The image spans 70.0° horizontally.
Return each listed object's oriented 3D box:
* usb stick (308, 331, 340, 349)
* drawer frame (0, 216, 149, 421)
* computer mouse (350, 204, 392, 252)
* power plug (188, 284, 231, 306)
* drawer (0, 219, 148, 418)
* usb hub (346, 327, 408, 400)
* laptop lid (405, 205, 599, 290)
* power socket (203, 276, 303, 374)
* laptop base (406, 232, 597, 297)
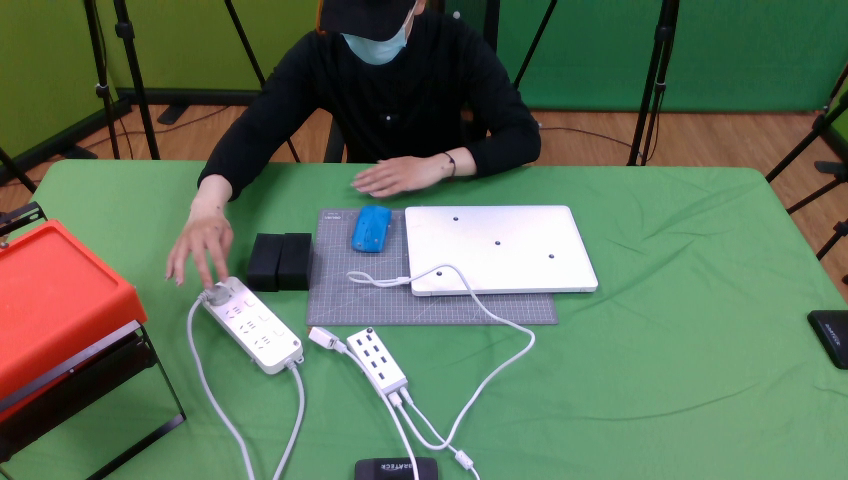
[{"bbox_3d":[-0.174,0.167,1.023,0.059,0.027,0.021,9,87,24],"label":"usb stick"},{"bbox_3d":[-0.510,0.093,0.780,0.201,0.083,0.213,31,52,23],"label":"drawer frame"},{"bbox_3d":[-0.104,-0.027,1.202,0.063,0.041,0.116,11,51,4],"label":"computer mouse"},{"bbox_3d":[-0.368,0.100,1.037,0.072,0.053,0.035,-22,53,-24],"label":"power plug"},{"bbox_3d":[-0.509,0.092,0.783,0.193,0.073,0.211,32,53,24],"label":"drawer"},{"bbox_3d":[-0.078,0.202,0.998,0.049,0.025,0.124,-23,53,-24],"label":"usb hub"},{"bbox_3d":[0.144,0.008,1.189,0.357,0.013,0.240,0,44,-5],"label":"laptop lid"},{"bbox_3d":[-0.296,0.141,1.034,0.072,0.033,0.225,-34,58,-30],"label":"power socket"},{"bbox_3d":[0.143,0.018,1.196,0.355,0.023,0.234,-1,43,-6],"label":"laptop base"}]
